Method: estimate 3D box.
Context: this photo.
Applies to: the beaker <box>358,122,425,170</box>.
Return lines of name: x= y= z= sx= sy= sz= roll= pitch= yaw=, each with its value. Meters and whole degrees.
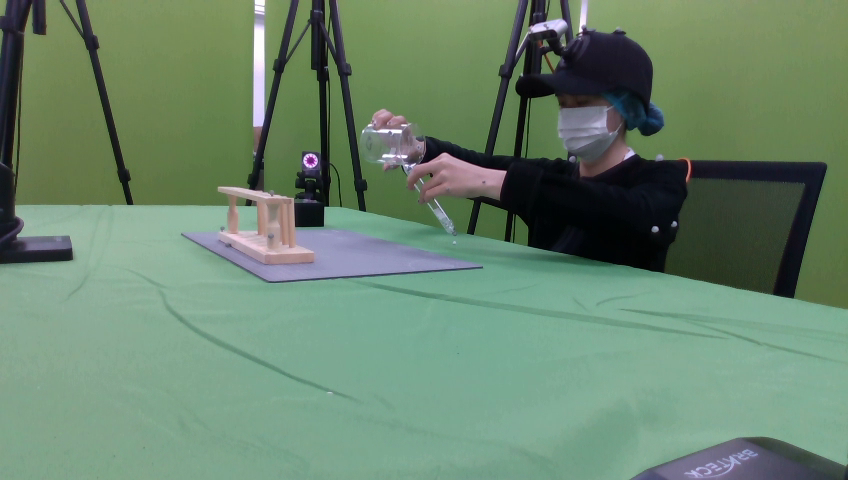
beaker: x=-0.059 y=-0.166 z=1.062 sx=0.100 sy=0.084 sz=0.074 roll=10 pitch=0 yaw=37

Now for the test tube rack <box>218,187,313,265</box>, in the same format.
test tube rack: x=-0.235 y=-0.027 z=0.872 sx=0.067 sy=0.085 sz=0.241 roll=-2 pitch=8 yaw=-32

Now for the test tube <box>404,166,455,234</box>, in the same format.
test tube: x=0.008 y=-0.067 z=1.005 sx=0.017 sy=0.017 sz=0.149 roll=-5 pitch=52 yaw=-46
